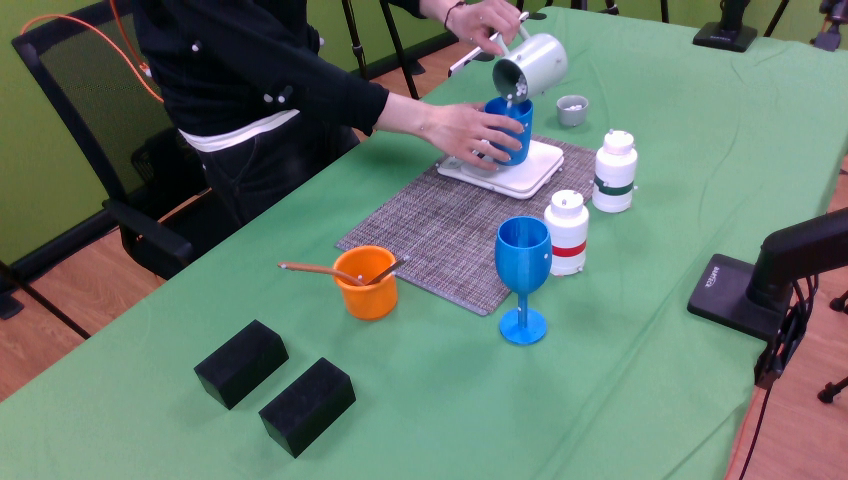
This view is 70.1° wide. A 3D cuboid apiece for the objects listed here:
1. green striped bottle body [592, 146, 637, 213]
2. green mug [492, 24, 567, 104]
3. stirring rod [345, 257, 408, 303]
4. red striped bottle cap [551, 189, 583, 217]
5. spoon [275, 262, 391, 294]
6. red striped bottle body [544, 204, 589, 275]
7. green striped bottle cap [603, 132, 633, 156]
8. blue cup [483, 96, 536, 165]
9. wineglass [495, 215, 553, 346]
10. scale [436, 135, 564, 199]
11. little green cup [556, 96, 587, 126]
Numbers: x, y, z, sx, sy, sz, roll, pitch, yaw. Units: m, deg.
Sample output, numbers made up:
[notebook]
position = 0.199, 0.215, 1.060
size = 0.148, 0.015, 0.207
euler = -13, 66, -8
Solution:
[green striped bottle body]
position = 0.307, -0.108, 0.976
size = 0.063, 0.120, 0.063
euler = -4, 40, 4
[green mug]
position = 0.169, -0.302, 1.018
size = 0.105, 0.125, 0.092
euler = -36, 8, -26
[stirring rod]
position = -0.067, 0.056, 0.814
size = 0.014, 0.175, 0.006
euler = -22, 81, -37
[red striped bottle cap]
position = 0.200, -0.052, 0.843
size = 0.044, 0.018, 0.044
euler = -2, 42, 2
[spoon]
position = -0.120, 0.050, 0.830
size = 0.041, 0.195, 0.021
euler = 31, 97, 45
[red striped bottle body]
position = 0.206, -0.011, 0.877
size = 0.063, 0.120, 0.062
euler = -5, 41, 4
[green striped bottle cap]
position = 0.302, -0.149, 0.939
size = 0.044, 0.020, 0.044
euler = -3, 41, 3
[blue cup]
position = 0.148, -0.187, 1.052
size = 0.092, 0.101, 0.092
euler = -6, 41, 6
[wineglass]
position = 0.127, 0.054, 0.770
size = 0.074, 0.173, 0.073
euler = -4, 40, 4
[scale]
position = 0.137, -0.142, 1.101
size = 0.199, 0.032, 0.149
euler = 22, 48, 30
[little green cup]
position = 0.295, -0.258, 1.214
size = 0.061, 0.039, 0.061
euler = -4, 41, 4
